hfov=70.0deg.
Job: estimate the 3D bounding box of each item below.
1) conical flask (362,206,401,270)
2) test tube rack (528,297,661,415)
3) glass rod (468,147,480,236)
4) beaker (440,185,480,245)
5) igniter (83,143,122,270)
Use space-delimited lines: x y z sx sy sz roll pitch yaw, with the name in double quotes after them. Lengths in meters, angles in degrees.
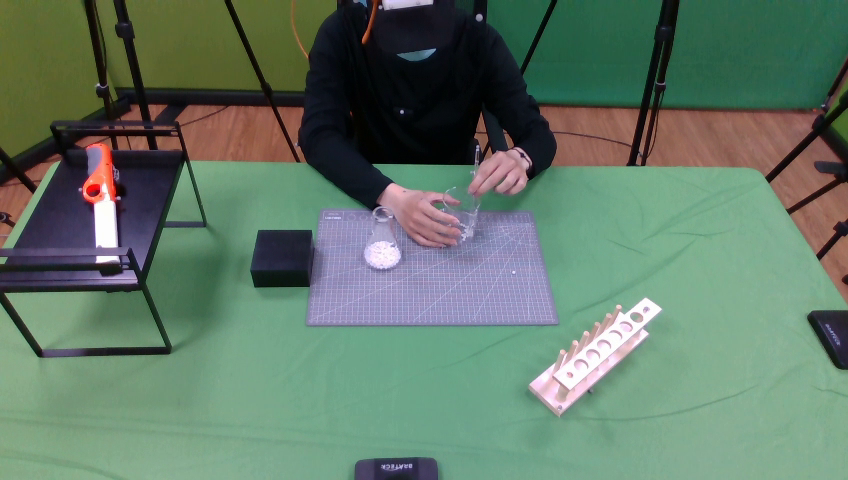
-0.078 -0.008 1.127 0.075 0.122 0.075 2 46 -2 "conical flask"
0.285 0.178 1.005 0.242 0.085 0.066 -31 56 -29 "test tube rack"
0.095 -0.089 1.162 0.008 0.200 0.008 2 37 -1 "glass rod"
0.070 -0.045 1.189 0.074 0.101 0.083 -25 54 -24 "beaker"
-0.508 -0.063 0.962 0.057 0.025 0.274 -14 53 -18 "igniter"
